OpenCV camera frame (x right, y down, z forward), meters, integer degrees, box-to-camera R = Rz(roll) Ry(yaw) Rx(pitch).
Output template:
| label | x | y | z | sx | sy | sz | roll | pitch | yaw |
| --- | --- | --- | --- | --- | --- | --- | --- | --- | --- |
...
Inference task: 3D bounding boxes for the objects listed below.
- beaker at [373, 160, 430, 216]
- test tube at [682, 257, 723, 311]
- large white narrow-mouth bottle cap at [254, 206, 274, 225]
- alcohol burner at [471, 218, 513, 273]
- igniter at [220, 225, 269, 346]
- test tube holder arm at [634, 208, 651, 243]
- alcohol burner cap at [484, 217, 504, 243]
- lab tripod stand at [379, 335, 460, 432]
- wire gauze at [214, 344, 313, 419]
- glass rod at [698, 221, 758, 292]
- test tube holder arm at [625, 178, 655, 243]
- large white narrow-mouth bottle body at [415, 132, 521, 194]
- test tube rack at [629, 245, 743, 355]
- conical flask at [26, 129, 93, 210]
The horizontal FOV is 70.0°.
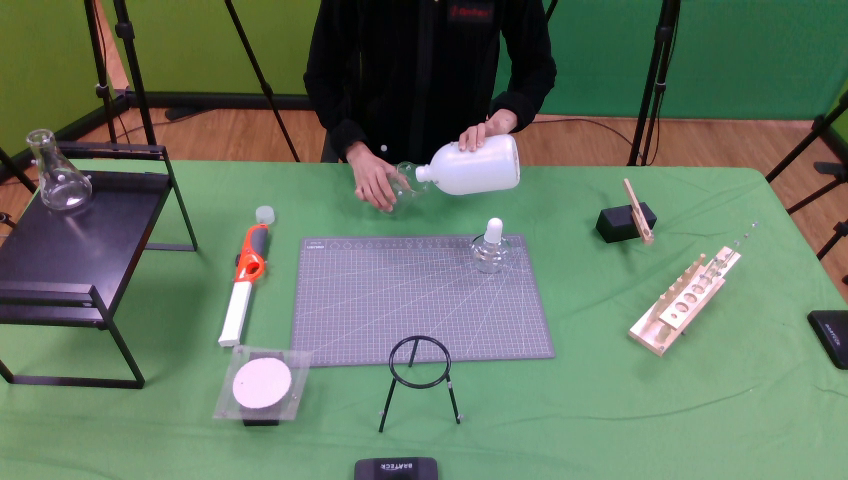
| label | x | y | z | sx | sy | sz | roll | pitch | yaw |
| --- | --- | --- | --- | --- | --- | --- | --- | --- | --- |
| beaker | -0.047 | -0.099 | 1.209 | 0.084 | 0.100 | 0.073 | 27 | 47 | -24 |
| test tube | 0.475 | 0.080 | 1.037 | 0.017 | 0.151 | 0.017 | 1 | 50 | -1 |
| large white narrow-mouth bottle cap | -0.323 | -0.049 | 1.222 | 0.038 | 0.024 | 0.037 | 2 | 47 | -2 |
| alcohol burner | 0.128 | 0.005 | 1.132 | 0.078 | 0.120 | 0.077 | 0 | 47 | 0 |
| igniter | -0.323 | 0.072 | 1.100 | 0.057 | 0.025 | 0.275 | -6 | 46 | 5 |
| test tube holder arm | 0.428 | -0.030 | 1.189 | 0.010 | 0.015 | 0.087 | 1 | 47 | -2 |
| alcohol burner cap | 0.130 | -0.021 | 1.107 | 0.034 | 0.048 | 0.033 | 4 | 41 | -4 |
| lab tripod stand | -0.011 | 0.214 | 0.911 | 0.148 | 0.132 | 0.147 | 1 | 45 | 0 |
| wire gauze | -0.241 | 0.213 | 0.915 | 0.121 | 0.011 | 0.124 | 5 | 46 | 1 |
| glass rod | 0.527 | 0.035 | 1.060 | 0.008 | 0.200 | 0.008 | 5 | 49 | -6 |
| test tube holder arm | 0.433 | -0.062 | 1.220 | 0.013 | 0.015 | 0.177 | 1 | 47 | -3 |
| large white narrow-mouth bottle body | 0.079 | -0.139 | 1.139 | 0.194 | 0.102 | 0.101 | -7 | 44 | 17 |
| test tube rack | 0.474 | 0.095 | 1.091 | 0.242 | 0.085 | 0.066 | -34 | 56 | -31 |
| conical flask | -0.575 | -0.113 | 0.946 | 0.075 | 0.122 | 0.075 | 2 | 46 | -2 |
